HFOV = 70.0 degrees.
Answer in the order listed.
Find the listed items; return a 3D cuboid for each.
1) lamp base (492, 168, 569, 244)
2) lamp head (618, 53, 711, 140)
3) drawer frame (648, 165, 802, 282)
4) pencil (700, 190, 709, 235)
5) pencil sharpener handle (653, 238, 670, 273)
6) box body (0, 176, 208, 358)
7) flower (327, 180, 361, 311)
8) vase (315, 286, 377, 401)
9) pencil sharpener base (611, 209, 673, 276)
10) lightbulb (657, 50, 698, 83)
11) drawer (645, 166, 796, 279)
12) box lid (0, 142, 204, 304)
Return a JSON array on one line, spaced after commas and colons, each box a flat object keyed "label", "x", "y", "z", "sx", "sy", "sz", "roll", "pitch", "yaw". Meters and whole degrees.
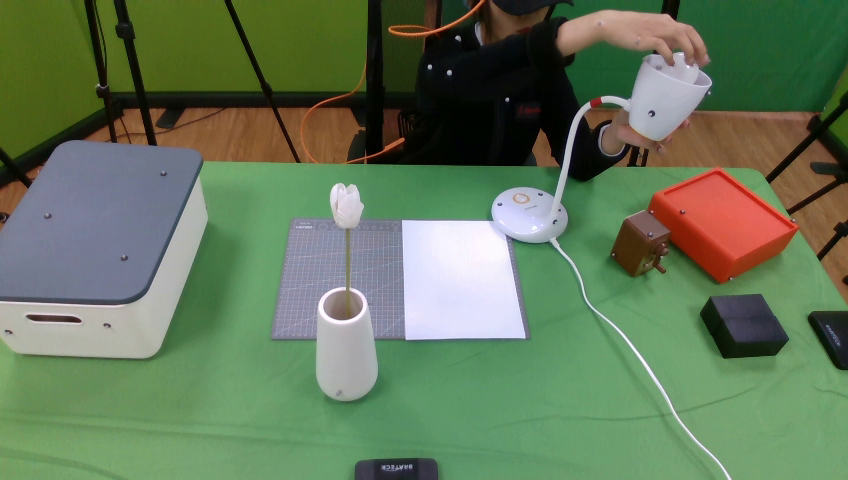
[{"label": "lamp base", "x": 0.233, "y": -0.101, "z": 1.200, "sx": 0.161, "sy": 0.181, "sz": 0.178, "roll": -24, "pitch": 56, "yaw": -25}, {"label": "lamp head", "x": 0.377, "y": -0.227, "z": 0.978, "sx": 0.112, "sy": 0.123, "sz": 0.111, "roll": 13, "pitch": 40, "yaw": -11}, {"label": "drawer frame", "x": 0.603, "y": -0.040, "z": 1.234, "sx": 0.202, "sy": 0.083, "sz": 0.212, "roll": -21, "pitch": 51, "yaw": -23}, {"label": "pencil", "x": 0.583, "y": -0.058, "z": 1.257, "sx": 0.012, "sy": 0.012, "sz": 0.193, "roll": 16, "pitch": 35, "yaw": 12}, {"label": "pencil sharpener handle", "x": 0.444, "y": 0.030, "z": 1.120, "sx": 0.036, "sy": 0.068, "sz": 0.030, "roll": -25, "pitch": 52, "yaw": -18}, {"label": "box body", "x": -0.546, "y": 0.017, "z": 1.045, "sx": 0.254, "sy": 0.161, "sz": 0.361, "roll": 2, "pitch": 46, "yaw": -2}, {"label": "flower", "x": -0.110, "y": 0.086, "z": 0.867, "sx": 0.044, "sy": 0.363, "sz": 0.038, "roll": 22, "pitch": 33, "yaw": 35}, {"label": "vase", "x": -0.119, "y": 0.159, "z": 0.911, "sx": 0.098, "sy": 0.201, "sz": 0.097, "roll": 2, "pitch": 47, "yaw": -2}, {"label": "pencil sharpener base", "x": 0.416, "y": 0.007, "z": 1.158, "sx": 0.061, "sy": 0.107, "sz": 0.076, "roll": -21, "pitch": 51, "yaw": -22}, {"label": "lightbulb", "x": 0.392, "y": -0.247, "z": 0.964, "sx": 0.059, "sy": 0.108, "sz": 0.059, "roll": 13, "pitch": 30, "yaw": -8}, {"label": "drawer", "x": 0.600, "y": -0.041, "z": 1.236, "sx": 0.195, "sy": 0.073, "sz": 0.210, "roll": -21, "pitch": 51, "yaw": -23}, {"label": "box lid", "x": -0.534, "y": -0.044, "z": 0.995, "sx": 0.263, "sy": 0.015, "sz": 0.369, "roll": 3, "pitch": 45, "yaw": -3}]
